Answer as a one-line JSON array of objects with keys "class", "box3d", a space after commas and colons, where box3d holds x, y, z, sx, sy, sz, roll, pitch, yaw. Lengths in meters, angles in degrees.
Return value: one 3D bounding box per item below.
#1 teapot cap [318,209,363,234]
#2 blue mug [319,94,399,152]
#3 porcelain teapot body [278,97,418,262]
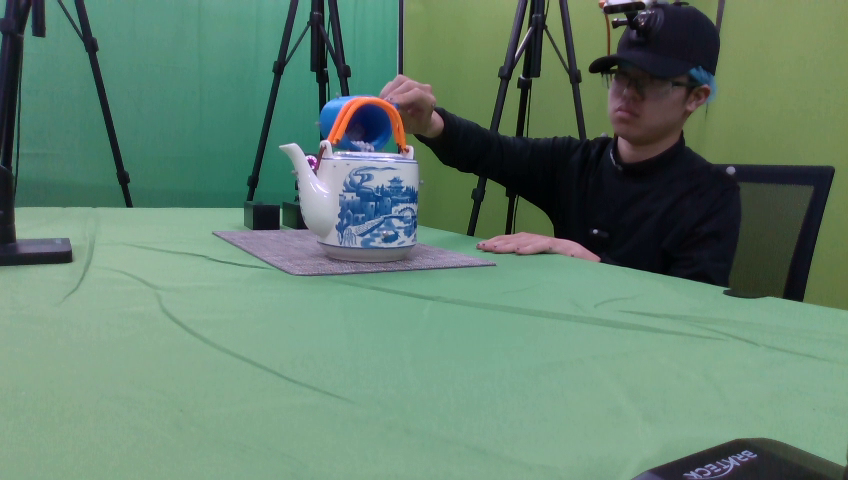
[{"class": "teapot cap", "box3d": [-0.158, -0.036, 1.144, 0.085, 0.044, 0.085, 0, 6, 0]}, {"class": "blue mug", "box3d": [-0.093, -0.187, 0.925, 0.117, 0.082, 0.105, -33, 23, -18]}, {"class": "porcelain teapot body", "box3d": [-0.104, -0.086, 0.842, 0.206, 0.225, 0.144, -4, 10, -38]}]
